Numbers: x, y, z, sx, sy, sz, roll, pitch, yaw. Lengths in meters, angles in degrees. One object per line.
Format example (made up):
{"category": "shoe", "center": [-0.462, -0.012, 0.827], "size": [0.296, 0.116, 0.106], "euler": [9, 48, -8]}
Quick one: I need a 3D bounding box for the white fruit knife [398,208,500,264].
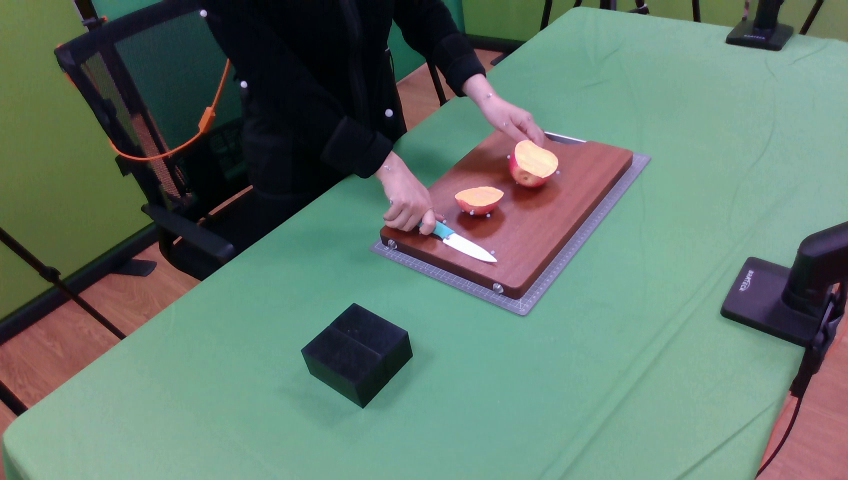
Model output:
{"category": "white fruit knife", "center": [0.038, -0.007, 0.950], "size": [0.205, 0.016, 0.027], "euler": [29, 81, 35]}

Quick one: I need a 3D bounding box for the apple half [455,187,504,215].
{"category": "apple half", "center": [0.094, -0.060, 0.988], "size": [0.081, 0.033, 0.081], "euler": [-4, 24, 2]}

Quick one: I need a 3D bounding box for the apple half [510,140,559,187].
{"category": "apple half", "center": [0.180, -0.122, 1.024], "size": [0.081, 0.053, 0.074], "euler": [25, 50, -3]}
